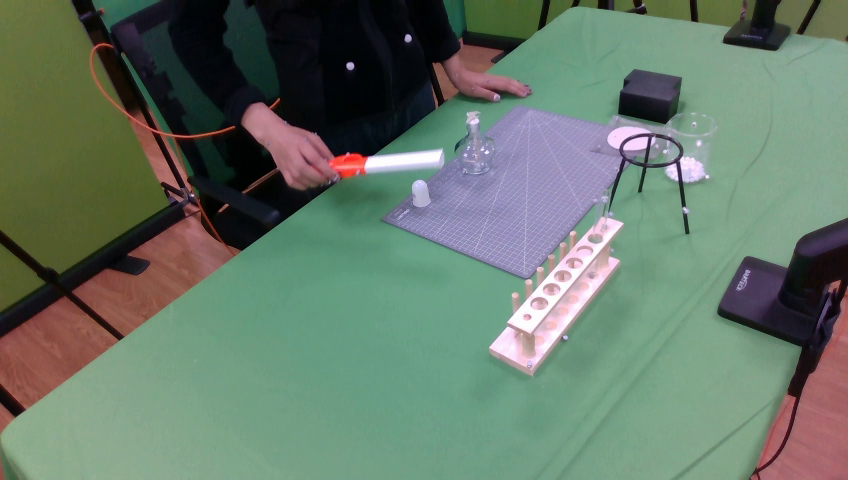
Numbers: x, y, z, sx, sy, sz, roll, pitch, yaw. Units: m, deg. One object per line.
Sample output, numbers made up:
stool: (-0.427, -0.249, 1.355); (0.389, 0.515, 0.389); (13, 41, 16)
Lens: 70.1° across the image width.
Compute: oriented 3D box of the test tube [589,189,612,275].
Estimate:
test tube: (0.238, -0.007, 0.818); (0.017, 0.151, 0.017); (-3, 43, 4)

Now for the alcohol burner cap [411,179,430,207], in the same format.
alcohol burner cap: (-0.008, -0.085, 1.063); (0.034, 0.048, 0.033); (-4, 40, 4)

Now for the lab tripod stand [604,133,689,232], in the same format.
lab tripod stand: (0.347, -0.086, 0.932); (0.148, 0.132, 0.147); (-4, 40, 4)

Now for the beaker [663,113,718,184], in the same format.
beaker: (0.442, -0.151, 1.018); (0.084, 0.101, 0.074); (-1, 40, 11)

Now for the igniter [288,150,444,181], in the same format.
igniter: (-0.102, -0.120, 0.977); (0.275, 0.025, 0.057); (-2, 42, 20)

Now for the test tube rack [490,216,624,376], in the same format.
test tube rack: (0.184, 0.064, 0.822); (0.066, 0.085, 0.243); (24, 50, 33)

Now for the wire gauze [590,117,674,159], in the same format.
wire gauze: (0.393, -0.192, 1.139); (0.120, 0.011, 0.125); (19, 47, 28)

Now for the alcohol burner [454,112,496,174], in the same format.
alcohol burner: (0.092, -0.181, 1.102); (0.078, 0.119, 0.077); (-5, 42, 5)
